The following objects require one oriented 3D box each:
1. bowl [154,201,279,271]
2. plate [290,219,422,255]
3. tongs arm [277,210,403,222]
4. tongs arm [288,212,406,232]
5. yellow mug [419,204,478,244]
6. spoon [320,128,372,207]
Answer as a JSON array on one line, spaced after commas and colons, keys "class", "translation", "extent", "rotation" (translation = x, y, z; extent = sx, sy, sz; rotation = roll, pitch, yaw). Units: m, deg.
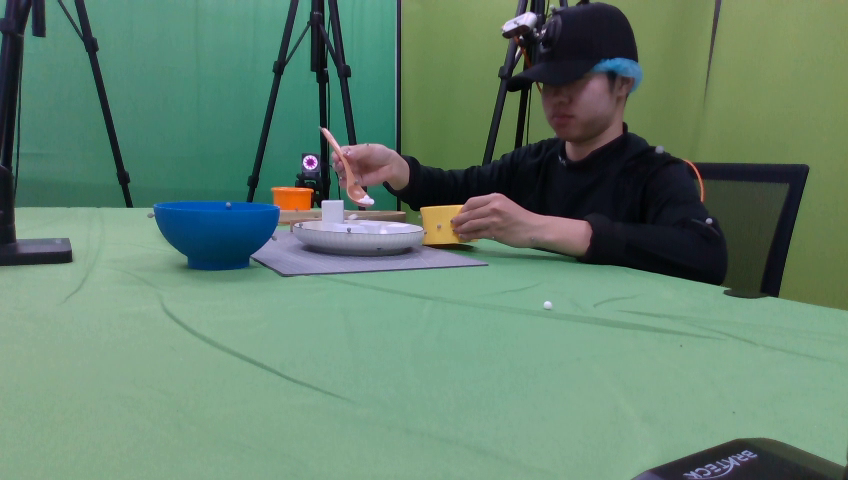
[{"class": "bowl", "translation": [-0.263, -0.005, 0.773], "extent": [0.151, 0.077, 0.151], "rotation": [3, 8, 0]}, {"class": "plate", "translation": [-0.108, -0.005, 0.963], "extent": [0.208, 0.039, 0.207], "rotation": [3, 7, 0]}, {"class": "tongs arm", "translation": [-0.206, -0.052, 1.332], "extent": [0.387, 0.026, 0.050], "rotation": [-2, 8, -44]}, {"class": "tongs arm", "translation": [-0.146, -0.039, 1.280], "extent": [0.028, 0.028, 0.389], "rotation": [3, 6, 33]}, {"class": "yellow mug", "translation": [0.050, -0.027, 1.041], "extent": [0.100, 0.064, 0.130], "rotation": [-4, 2, -30]}, {"class": "spoon", "translation": [-0.133, -0.123, 0.999], "extent": [0.042, 0.021, 0.193], "rotation": [1, 50, -40]}]
